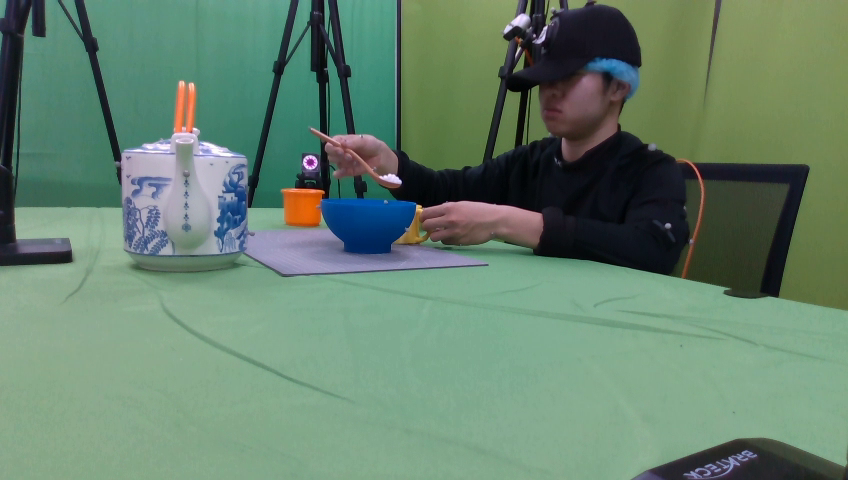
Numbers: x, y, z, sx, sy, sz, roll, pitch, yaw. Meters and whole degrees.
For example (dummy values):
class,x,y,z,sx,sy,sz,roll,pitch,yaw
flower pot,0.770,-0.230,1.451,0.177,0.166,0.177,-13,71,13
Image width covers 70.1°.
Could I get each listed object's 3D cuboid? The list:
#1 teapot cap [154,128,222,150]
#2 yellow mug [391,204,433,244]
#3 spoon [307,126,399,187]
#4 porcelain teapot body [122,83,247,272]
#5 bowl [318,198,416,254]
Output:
class,x,y,z,sx,sy,sz,roll,pitch,yaw
teapot cap,-0.294,-0.117,0.754,0.085,0.044,0.085,4,9,0
yellow mug,-0.042,-0.031,1.070,0.130,0.064,0.100,7,9,28
spoon,-0.125,-0.146,1.056,0.193,0.021,0.042,38,8,8
porcelain teapot body,-0.286,-0.075,0.733,0.146,0.225,0.204,0,8,-24
bowl,-0.089,-0.022,0.941,0.151,0.077,0.151,2,7,0
